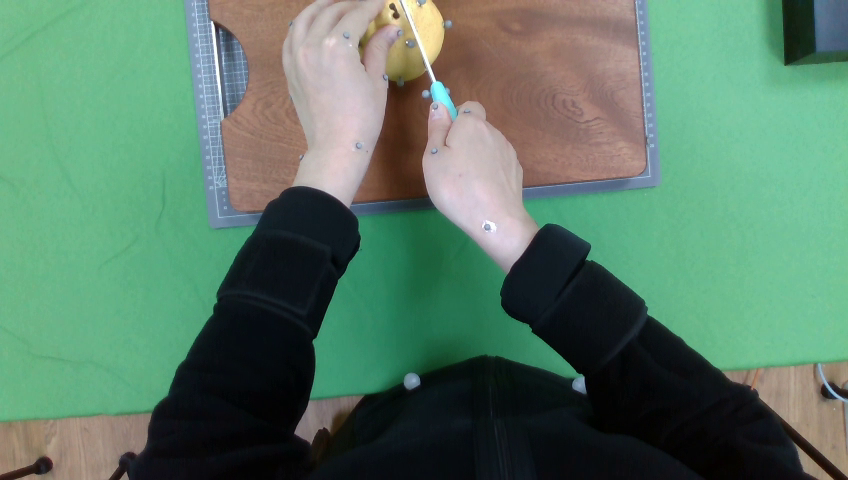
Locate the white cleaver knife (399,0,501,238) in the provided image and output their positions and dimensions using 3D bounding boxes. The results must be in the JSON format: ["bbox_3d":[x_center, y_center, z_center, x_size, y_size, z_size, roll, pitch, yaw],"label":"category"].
[{"bbox_3d":[0.007,-0.137,0.497,0.021,0.066,0.286,-20,90,6],"label":"white cleaver knife"}]

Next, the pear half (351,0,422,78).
[{"bbox_3d":[-0.036,-0.178,0.519,0.056,0.110,0.076,-26,87,1],"label":"pear half"}]

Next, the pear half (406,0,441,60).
[{"bbox_3d":[-0.002,-0.193,0.527,0.031,0.088,0.070,-28,87,-2],"label":"pear half"}]
